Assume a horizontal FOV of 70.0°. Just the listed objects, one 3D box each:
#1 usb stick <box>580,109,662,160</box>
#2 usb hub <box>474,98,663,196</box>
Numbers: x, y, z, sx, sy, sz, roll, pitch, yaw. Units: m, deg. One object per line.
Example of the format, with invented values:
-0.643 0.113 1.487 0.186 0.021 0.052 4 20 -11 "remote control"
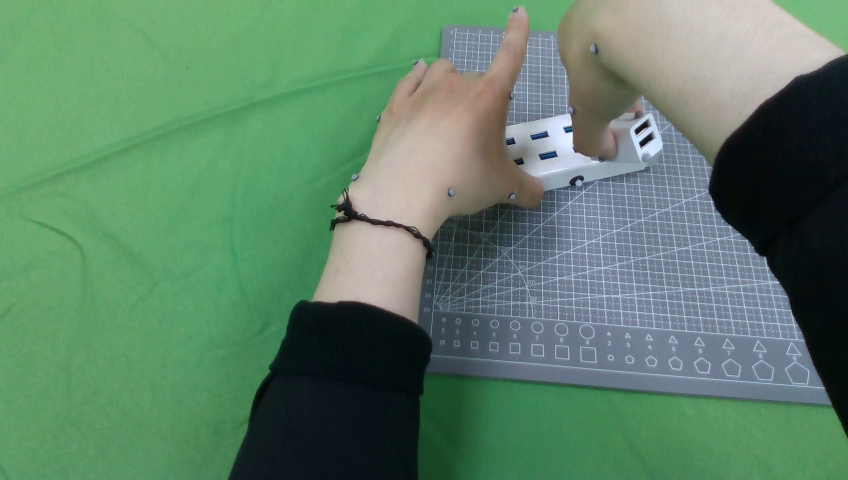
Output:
0.120 -0.067 0.387 0.021 0.059 0.027 -41 112 -14 "usb stick"
0.102 -0.068 0.434 0.125 0.025 0.049 -11 63 -9 "usb hub"
